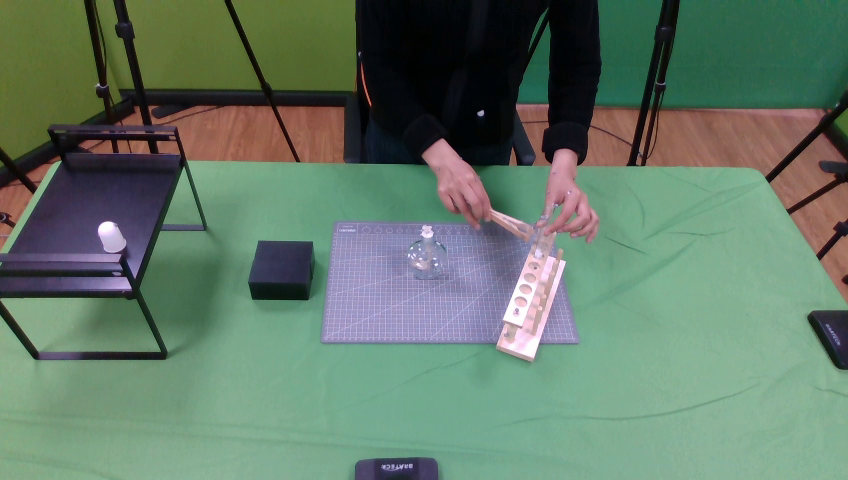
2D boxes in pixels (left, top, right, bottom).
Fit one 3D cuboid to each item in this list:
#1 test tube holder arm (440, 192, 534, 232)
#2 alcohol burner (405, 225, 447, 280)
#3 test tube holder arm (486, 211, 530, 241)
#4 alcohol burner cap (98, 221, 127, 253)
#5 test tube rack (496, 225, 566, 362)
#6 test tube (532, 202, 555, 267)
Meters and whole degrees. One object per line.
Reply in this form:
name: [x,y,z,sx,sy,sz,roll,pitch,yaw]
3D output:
test tube holder arm: [0.114,-0.050,1.101,0.178,0.015,0.013,21,55,6]
alcohol burner: [0.005,0.017,1.115,0.078,0.120,0.077,1,47,-1]
test tube holder arm: [0.151,-0.027,1.091,0.087,0.015,0.010,35,58,15]
alcohol burner cap: [-0.468,-0.007,0.904,0.034,0.048,0.033,3,46,-3]
test tube rack: [0.201,0.089,1.081,0.066,0.085,0.241,19,48,13]
test tube: [0.205,-0.006,1.050,0.017,0.151,0.017,2,45,-1]
